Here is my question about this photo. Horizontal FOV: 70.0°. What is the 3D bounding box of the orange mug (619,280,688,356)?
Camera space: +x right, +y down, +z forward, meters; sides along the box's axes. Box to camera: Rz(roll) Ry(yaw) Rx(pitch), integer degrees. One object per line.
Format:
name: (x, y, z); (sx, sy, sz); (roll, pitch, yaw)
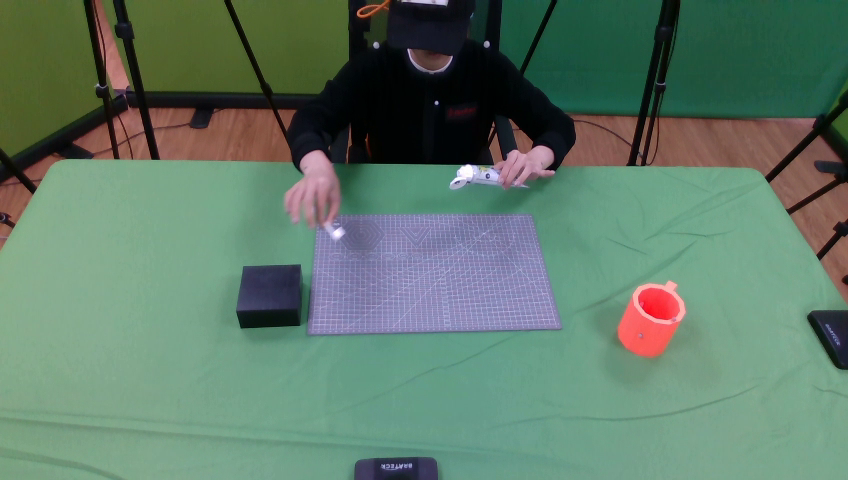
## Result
orange mug: (0.401, 0.125, 1.045); (0.083, 0.101, 0.126); (30, 56, 24)

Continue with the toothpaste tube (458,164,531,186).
toothpaste tube: (0.134, -0.123, 1.171); (0.166, 0.034, 0.054); (0, 40, -34)

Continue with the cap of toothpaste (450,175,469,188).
cap of toothpaste: (0.064, -0.108, 1.114); (0.037, 0.037, 0.011); (-16, 71, -18)

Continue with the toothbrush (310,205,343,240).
toothbrush: (-0.171, -0.034, 1.044); (0.016, 0.014, 0.181); (-47, 29, -3)
